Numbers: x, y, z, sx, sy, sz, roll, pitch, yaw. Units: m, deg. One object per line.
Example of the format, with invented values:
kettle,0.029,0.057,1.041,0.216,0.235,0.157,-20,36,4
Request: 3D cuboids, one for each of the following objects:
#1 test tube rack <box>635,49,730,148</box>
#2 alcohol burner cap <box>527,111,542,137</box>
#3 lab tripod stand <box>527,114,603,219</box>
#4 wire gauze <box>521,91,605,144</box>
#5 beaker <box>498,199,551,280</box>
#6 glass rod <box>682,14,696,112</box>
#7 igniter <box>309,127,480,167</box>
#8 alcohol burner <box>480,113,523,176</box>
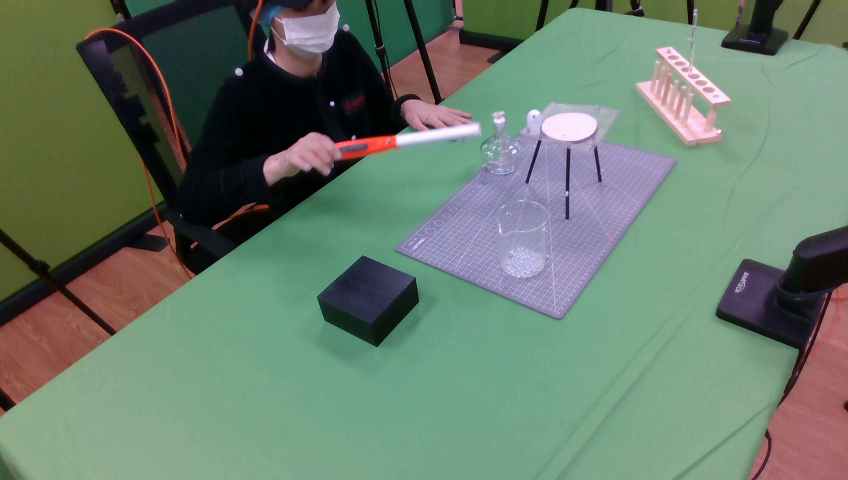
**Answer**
test tube rack,0.497,-0.283,1.185,0.067,0.085,0.240,-10,40,-2
alcohol burner cap,0.220,-0.233,1.200,0.034,0.048,0.033,-5,41,5
lab tripod stand,0.234,-0.129,1.002,0.148,0.132,0.147,-6,40,6
wire gauze,0.219,-0.191,0.948,0.121,0.011,0.125,8,49,13
beaker,0.144,0.003,0.884,0.073,0.101,0.084,28,52,36
glass rod,0.495,-0.326,1.132,0.008,0.201,0.008,-8,42,8
igniter,-0.051,-0.142,0.925,0.276,0.025,0.057,-7,1,13
alcohol burner,0.139,-0.176,1.089,0.078,0.119,0.077,-5,42,5
